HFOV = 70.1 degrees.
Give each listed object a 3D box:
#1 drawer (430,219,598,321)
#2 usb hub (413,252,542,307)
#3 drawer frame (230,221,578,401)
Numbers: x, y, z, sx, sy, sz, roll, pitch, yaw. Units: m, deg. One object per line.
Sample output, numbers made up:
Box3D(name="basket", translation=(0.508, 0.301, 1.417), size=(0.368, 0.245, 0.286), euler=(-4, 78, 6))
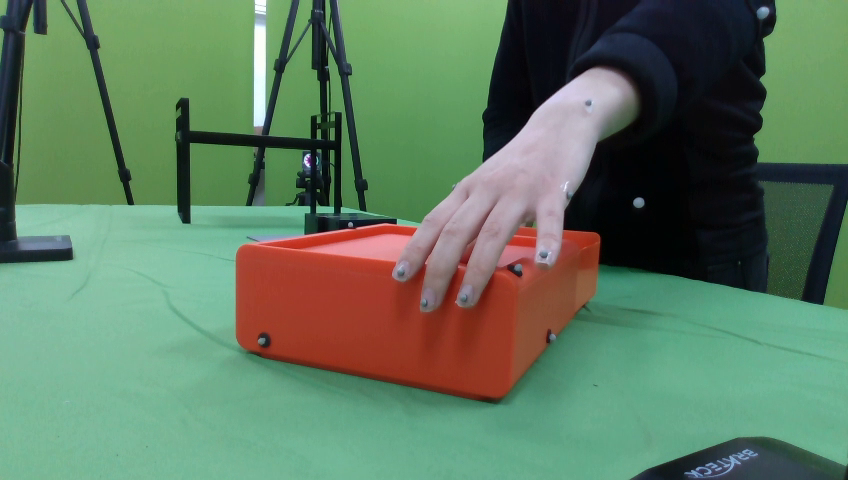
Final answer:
Box3D(name="drawer", translation=(0.049, 0.029, 0.581), size=(0.194, 0.073, 0.212), euler=(7, 9, 25))
Box3D(name="usb hub", translation=(0.053, 0.039, 0.613), size=(0.124, 0.025, 0.050), euler=(16, 3, 30))
Box3D(name="drawer frame", translation=(0.001, 0.037, 0.473), size=(0.201, 0.082, 0.214), euler=(6, 9, 22))
